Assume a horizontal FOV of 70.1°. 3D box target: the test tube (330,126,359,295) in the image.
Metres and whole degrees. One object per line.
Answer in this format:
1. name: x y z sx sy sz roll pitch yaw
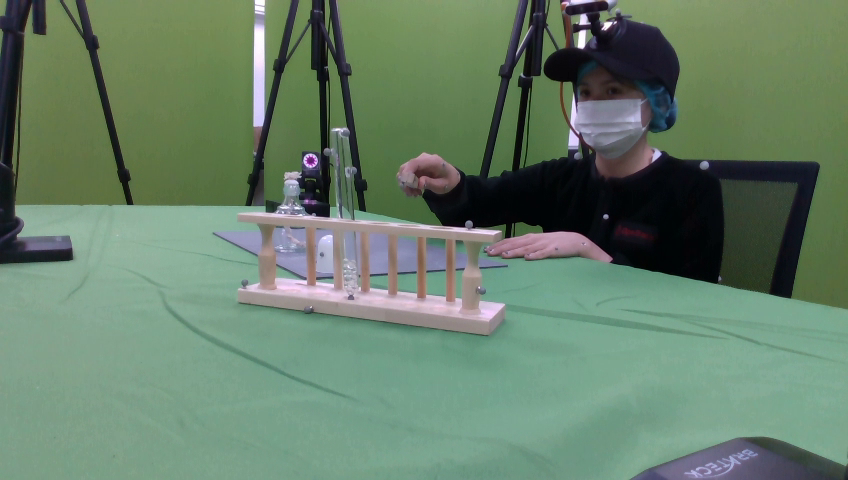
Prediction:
1. test tube: -0.070 -0.024 0.533 0.017 0.150 0.017 -3 10 1

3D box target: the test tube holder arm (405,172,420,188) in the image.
1. test tube holder arm: -0.014 -0.080 0.815 0.010 0.015 0.088 19 1 3

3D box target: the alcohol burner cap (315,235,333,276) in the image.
1. alcohol burner cap: -0.116 0.018 0.728 0.034 0.048 0.034 3 6 0

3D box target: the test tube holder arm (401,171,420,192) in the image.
1. test tube holder arm: -0.018 -0.082 0.860 0.013 0.015 0.178 19 1 2

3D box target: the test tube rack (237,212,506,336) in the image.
1. test tube rack: -0.049 0.024 0.552 0.242 0.085 0.067 5 8 18

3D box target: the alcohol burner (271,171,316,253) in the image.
1. alcohol burner: -0.196 -0.041 0.884 0.078 0.119 0.078 3 5 0
